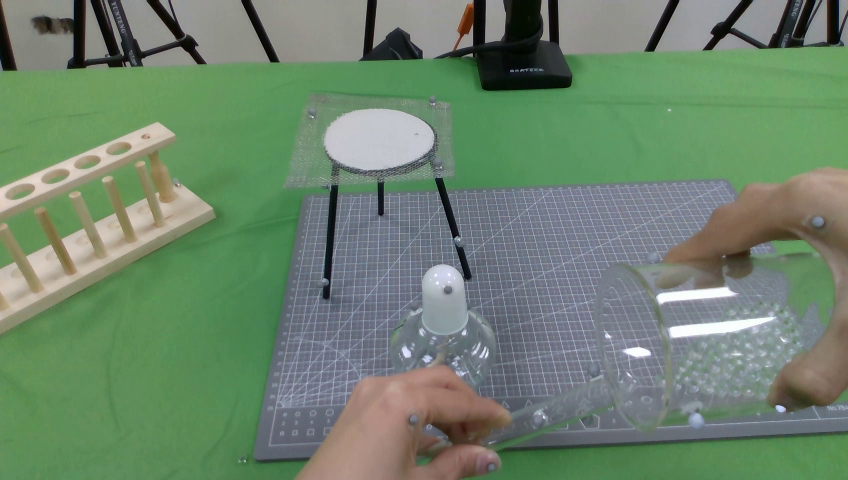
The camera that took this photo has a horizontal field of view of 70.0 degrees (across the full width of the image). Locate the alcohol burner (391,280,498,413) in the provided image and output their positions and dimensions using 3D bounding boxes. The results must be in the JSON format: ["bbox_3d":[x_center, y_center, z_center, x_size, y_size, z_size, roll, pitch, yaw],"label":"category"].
[{"bbox_3d":[0.015,0.067,0.422,0.078,0.120,0.077,0,43,1],"label":"alcohol burner"}]

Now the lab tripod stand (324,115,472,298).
[{"bbox_3d":[-0.027,-0.027,0.515,0.148,0.132,0.147,1,40,0],"label":"lab tripod stand"}]

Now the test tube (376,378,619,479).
[{"bbox_3d":[0.034,0.109,0.327,0.150,0.017,0.017,-30,36,22],"label":"test tube"}]

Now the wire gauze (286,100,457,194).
[{"bbox_3d":[-0.036,-0.076,0.469,0.121,0.011,0.124,0,42,0],"label":"wire gauze"}]

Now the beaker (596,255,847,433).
[{"bbox_3d":[0.139,0.046,0.277,0.100,0.085,0.073,-5,49,-5],"label":"beaker"}]

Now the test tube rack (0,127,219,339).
[{"bbox_3d":[-0.315,-0.006,0.538,0.066,0.086,0.242,32,51,32],"label":"test tube rack"}]

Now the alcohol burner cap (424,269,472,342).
[{"bbox_3d":[0.015,0.040,0.399,0.034,0.048,0.033,-3,41,3],"label":"alcohol burner cap"}]
